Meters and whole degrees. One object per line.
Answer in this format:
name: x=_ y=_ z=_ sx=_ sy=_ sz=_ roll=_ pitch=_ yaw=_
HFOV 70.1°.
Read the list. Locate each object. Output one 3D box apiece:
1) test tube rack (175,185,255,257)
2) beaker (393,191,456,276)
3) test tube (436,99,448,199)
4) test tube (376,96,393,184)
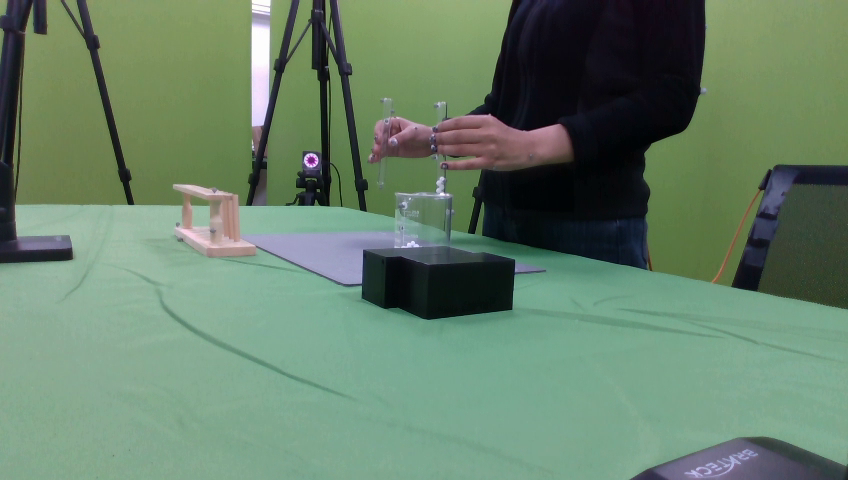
test tube rack: x=-0.324 y=-0.035 z=0.922 sx=0.067 sy=0.085 sz=0.241 roll=-2 pitch=9 yaw=-31
beaker: x=-0.003 y=-0.010 z=0.749 sx=0.074 sy=0.100 sz=0.083 roll=-3 pitch=8 yaw=-40
test tube: x=0.027 y=-0.137 z=0.915 sx=0.017 sy=0.150 sz=0.017 roll=1 pitch=5 yaw=0
test tube: x=-0.069 y=-0.172 z=1.045 sx=0.017 sy=0.150 sz=0.017 roll=6 pitch=11 yaw=-1
